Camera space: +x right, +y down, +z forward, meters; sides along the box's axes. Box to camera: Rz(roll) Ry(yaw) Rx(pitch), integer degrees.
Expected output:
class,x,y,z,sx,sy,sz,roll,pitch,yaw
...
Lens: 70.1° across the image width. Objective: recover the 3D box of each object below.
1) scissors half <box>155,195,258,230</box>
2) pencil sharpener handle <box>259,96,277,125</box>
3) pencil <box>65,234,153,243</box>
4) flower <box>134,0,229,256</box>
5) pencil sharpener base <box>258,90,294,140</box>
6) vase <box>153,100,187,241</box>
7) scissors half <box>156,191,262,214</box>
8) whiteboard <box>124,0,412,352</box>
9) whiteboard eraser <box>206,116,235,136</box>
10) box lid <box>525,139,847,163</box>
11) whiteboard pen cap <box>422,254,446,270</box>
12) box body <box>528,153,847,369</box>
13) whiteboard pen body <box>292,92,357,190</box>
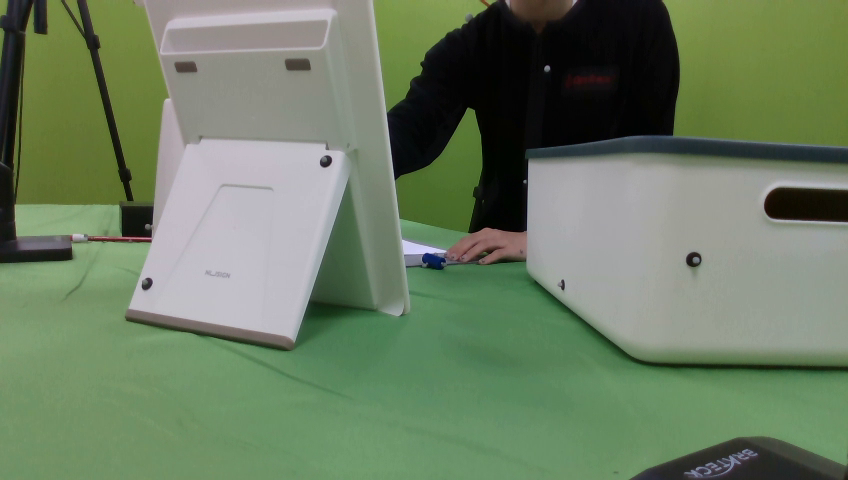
class,x,y,z,sx,sy,sz,roll,pitch,yaw
scissors half,-0.378,-0.051,1.058,0.176,0.040,0.012,20,22,-31
pencil sharpener handle,-0.373,-0.304,1.425,0.036,0.067,0.030,13,-1,-37
pencil,-0.429,0.000,0.910,0.195,0.012,0.012,2,7,-19
flower,-0.282,-0.146,0.713,0.038,0.362,0.044,-23,23,-31
pencil sharpener base,-0.341,-0.285,1.388,0.062,0.107,0.076,-3,9,-36
vase,-0.278,-0.066,0.736,0.098,0.200,0.098,2,9,0
scissors half,-0.371,-0.068,1.051,0.176,0.040,0.013,2,25,-24
whiteboard,-0.151,-0.049,0.472,0.216,0.305,0.144,6,27,24
whiteboard eraser,-0.449,-0.251,1.335,0.056,0.042,0.112,1,7,-22
box lid,0.261,-0.078,0.580,0.264,0.015,0.371,2,7,-4
whiteboard pen cap,0.013,0.029,0.806,0.018,0.018,0.033,-4,14,-42
box body,0.258,-0.005,0.591,0.254,0.160,0.363,2,7,-4
whiteboard pen body,-0.096,-0.097,0.583,0.017,0.017,0.141,6,50,21
